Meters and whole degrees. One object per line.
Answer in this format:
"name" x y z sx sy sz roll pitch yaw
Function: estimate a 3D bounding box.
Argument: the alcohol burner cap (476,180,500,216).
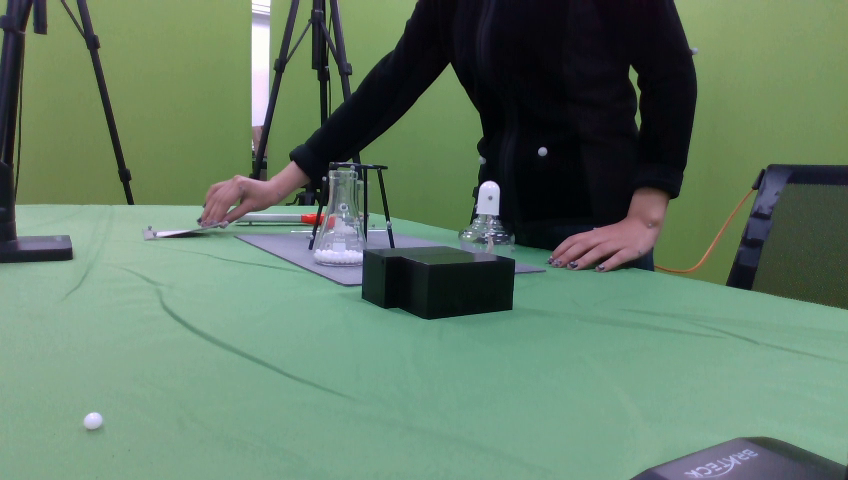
"alcohol burner cap" 0.086 -0.056 0.801 0.034 0.048 0.034 4 2 0

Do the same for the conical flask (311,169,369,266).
"conical flask" -0.108 -0.031 0.786 0.075 0.122 0.075 2 8 0

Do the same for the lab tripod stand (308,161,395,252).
"lab tripod stand" -0.099 -0.053 0.918 0.148 0.131 0.148 4 7 0

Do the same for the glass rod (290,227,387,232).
"glass rod" -0.162 -0.022 1.177 0.201 0.008 0.008 -2 8 -28

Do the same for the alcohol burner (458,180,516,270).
"alcohol burner" 0.085 -0.021 0.805 0.078 0.119 0.078 3 9 0

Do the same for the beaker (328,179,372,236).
"beaker" -0.137 -0.060 1.101 0.084 0.100 0.074 4 7 20

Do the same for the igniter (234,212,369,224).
"igniter" -0.247 -0.046 1.252 0.278 0.025 0.057 -1 -3 -28

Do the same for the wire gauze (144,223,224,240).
"wire gauze" -0.404 -0.017 1.017 0.122 0.011 0.124 -9 7 -25
